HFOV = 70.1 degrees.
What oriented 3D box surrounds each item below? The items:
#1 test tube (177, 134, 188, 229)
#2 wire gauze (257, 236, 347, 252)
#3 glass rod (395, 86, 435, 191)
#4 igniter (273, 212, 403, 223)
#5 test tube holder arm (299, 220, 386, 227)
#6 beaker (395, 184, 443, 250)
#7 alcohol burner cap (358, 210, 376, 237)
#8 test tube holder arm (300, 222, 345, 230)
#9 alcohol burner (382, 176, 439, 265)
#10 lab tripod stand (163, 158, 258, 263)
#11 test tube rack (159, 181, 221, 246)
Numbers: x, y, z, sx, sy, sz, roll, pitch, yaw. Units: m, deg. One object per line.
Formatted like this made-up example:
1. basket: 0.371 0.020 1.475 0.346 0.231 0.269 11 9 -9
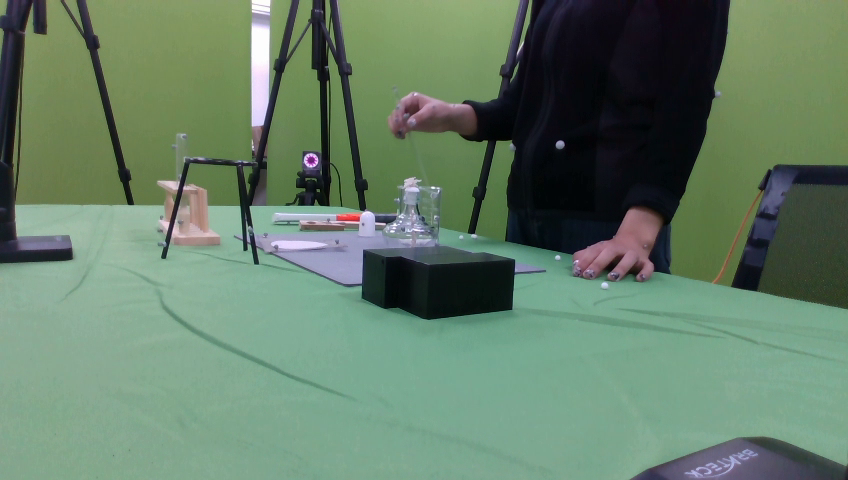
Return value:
1. test tube: -0.374 -0.089 0.938 0.017 0.150 0.017 1 4 0
2. wire gauze: -0.189 0.005 0.931 0.122 0.011 0.124 1 7 -21
3. glass rod: -0.016 -0.176 1.067 0.008 0.200 0.008 -17 22 8
4. igniter: -0.179 -0.048 1.290 0.278 0.025 0.057 -1 -2 -24
5. test tube holder arm: -0.158 -0.032 1.195 0.179 0.015 0.013 -2 44 -29
6. beaker: -0.007 -0.037 0.965 0.074 0.100 0.083 -4 11 -40
7. alcohol burner cap: -0.104 -0.030 1.098 0.034 0.048 0.034 2 7 0
8. test tube holder arm: -0.196 -0.027 1.170 0.088 0.015 0.010 -1 43 -28
9. alcohol burner: -0.018 -0.027 0.818 0.078 0.119 0.078 3 9 0
10. lab tripod stand: -0.265 -0.041 0.802 0.148 0.131 0.148 4 7 0
11. test tube rack: -0.395 -0.050 1.010 0.067 0.085 0.241 -2 8 -28
